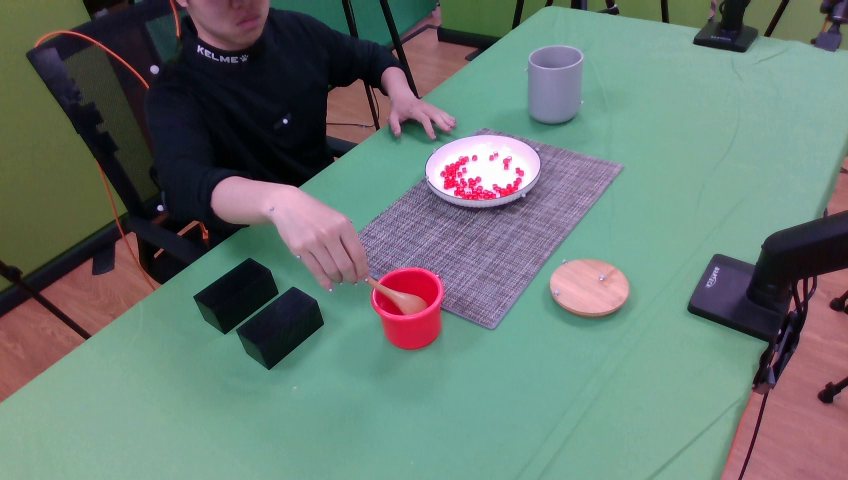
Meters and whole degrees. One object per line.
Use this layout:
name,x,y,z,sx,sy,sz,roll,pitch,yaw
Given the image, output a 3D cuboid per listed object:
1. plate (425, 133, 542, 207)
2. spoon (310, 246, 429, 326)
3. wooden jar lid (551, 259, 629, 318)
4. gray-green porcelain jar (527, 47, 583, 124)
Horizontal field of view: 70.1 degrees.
plate,0.106,-0.122,1.079,0.207,0.039,0.206,-4,41,4
spoon,-0.066,0.061,0.776,0.041,0.195,0.021,-16,49,48
wooden jar lid,0.234,0.070,0.857,0.108,0.021,0.108,-5,40,5
gray-green porcelain jar,0.260,-0.305,1.207,0.106,0.127,0.105,-4,41,4
